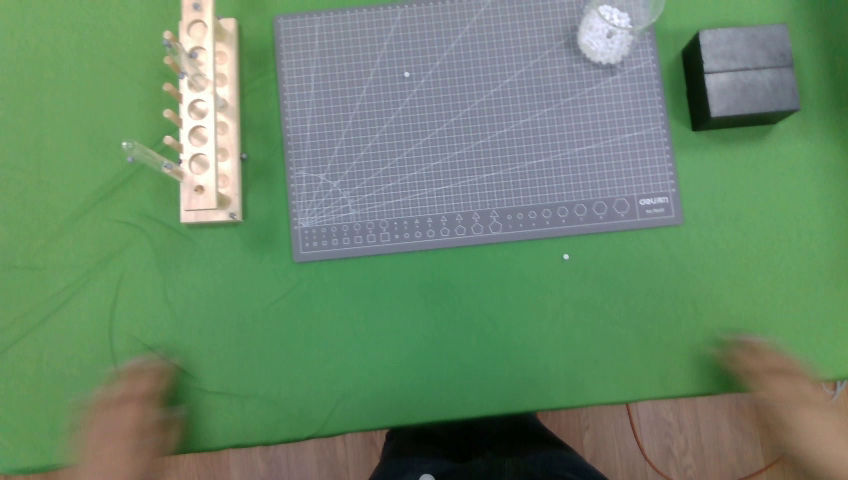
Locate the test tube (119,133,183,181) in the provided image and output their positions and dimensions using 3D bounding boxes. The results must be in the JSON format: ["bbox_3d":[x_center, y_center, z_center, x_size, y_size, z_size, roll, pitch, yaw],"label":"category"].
[{"bbox_3d":[-0.268,-0.081,0.622,0.017,0.151,0.017,0,82,2],"label":"test tube"}]

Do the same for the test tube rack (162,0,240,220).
[{"bbox_3d":[-0.252,-0.149,0.674,0.067,0.085,0.241,-3,84,0],"label":"test tube rack"}]

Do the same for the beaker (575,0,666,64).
[{"bbox_3d":[0.209,-0.247,0.672,0.084,0.100,0.074,32,84,6],"label":"beaker"}]

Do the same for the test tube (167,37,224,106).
[{"bbox_3d":[-0.233,-0.170,0.627,0.017,0.150,0.017,0,83,-4],"label":"test tube"}]
